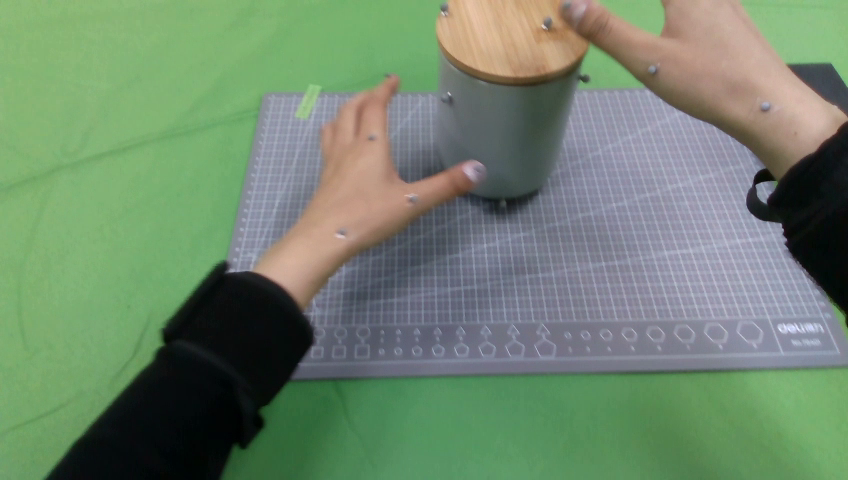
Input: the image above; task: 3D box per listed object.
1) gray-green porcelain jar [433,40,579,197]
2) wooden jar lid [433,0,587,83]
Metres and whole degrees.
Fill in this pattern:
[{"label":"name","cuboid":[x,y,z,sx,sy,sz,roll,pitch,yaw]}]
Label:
[{"label":"gray-green porcelain jar","cuboid":[0.060,-0.105,0.480,0.106,0.127,0.105,0,53,0]},{"label":"wooden jar lid","cuboid":[0.060,-0.145,0.429,0.108,0.021,0.107,0,54,1]}]
